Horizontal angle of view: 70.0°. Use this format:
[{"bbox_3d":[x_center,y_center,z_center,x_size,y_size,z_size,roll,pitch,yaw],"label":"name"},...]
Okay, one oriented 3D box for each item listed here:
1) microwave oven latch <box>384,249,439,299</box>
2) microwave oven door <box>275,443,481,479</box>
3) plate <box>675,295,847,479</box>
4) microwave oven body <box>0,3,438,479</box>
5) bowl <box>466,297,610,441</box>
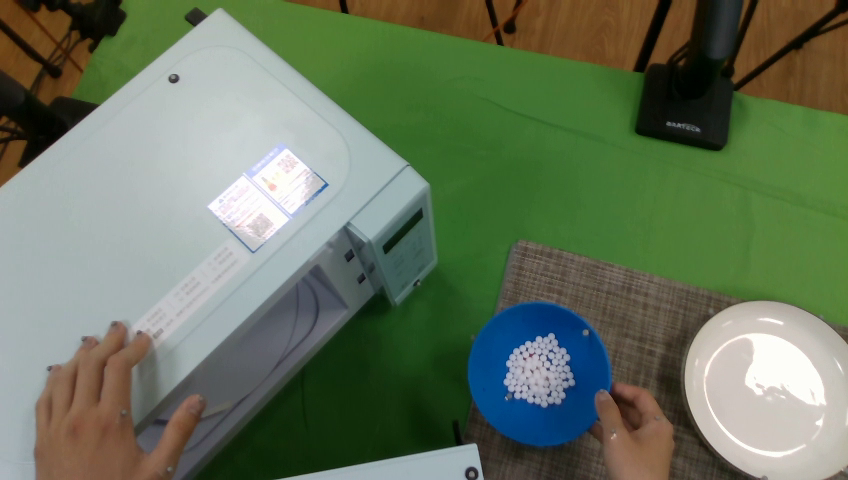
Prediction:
[{"bbox_3d":[-0.016,0.035,0.751,0.079,0.030,0.030,-44,74,-11],"label":"microwave oven latch"},{"bbox_3d":[-0.124,0.240,0.576,0.356,0.245,0.039,-10,70,-1],"label":"microwave oven door"},{"bbox_3d":[0.393,0.168,0.699,0.207,0.039,0.206,-1,71,2],"label":"plate"},{"bbox_3d":[-0.250,0.032,0.660,0.324,0.262,0.441,41,78,15],"label":"microwave oven body"},{"bbox_3d":[0.124,0.144,0.675,0.151,0.077,0.150,-2,75,7],"label":"bowl"}]
